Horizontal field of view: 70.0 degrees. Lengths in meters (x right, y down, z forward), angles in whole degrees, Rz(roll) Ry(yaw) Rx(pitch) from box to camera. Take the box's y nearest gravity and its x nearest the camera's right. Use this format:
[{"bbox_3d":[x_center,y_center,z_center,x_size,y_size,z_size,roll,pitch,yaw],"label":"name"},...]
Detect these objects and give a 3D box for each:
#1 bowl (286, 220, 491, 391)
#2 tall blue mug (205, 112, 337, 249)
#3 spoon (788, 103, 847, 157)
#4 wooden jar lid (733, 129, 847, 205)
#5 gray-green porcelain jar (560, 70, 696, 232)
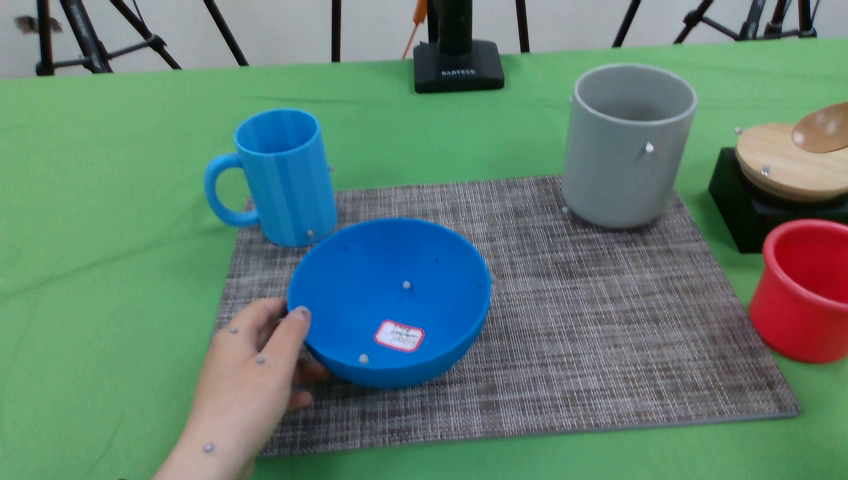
[{"bbox_3d":[-0.024,0.062,0.469,0.151,0.077,0.150,-1,43,1],"label":"bowl"},{"bbox_3d":[-0.140,-0.048,0.570,0.077,0.109,0.107,32,53,30],"label":"tall blue mug"},{"bbox_3d":[0.304,-0.089,0.347,0.022,0.193,0.041,29,69,-14],"label":"spoon"},{"bbox_3d":[0.346,-0.068,0.566,0.108,0.021,0.107,-2,43,2],"label":"wooden jar lid"},{"bbox_3d":[0.187,-0.079,0.575,0.106,0.127,0.105,-1,43,2],"label":"gray-green porcelain jar"}]
